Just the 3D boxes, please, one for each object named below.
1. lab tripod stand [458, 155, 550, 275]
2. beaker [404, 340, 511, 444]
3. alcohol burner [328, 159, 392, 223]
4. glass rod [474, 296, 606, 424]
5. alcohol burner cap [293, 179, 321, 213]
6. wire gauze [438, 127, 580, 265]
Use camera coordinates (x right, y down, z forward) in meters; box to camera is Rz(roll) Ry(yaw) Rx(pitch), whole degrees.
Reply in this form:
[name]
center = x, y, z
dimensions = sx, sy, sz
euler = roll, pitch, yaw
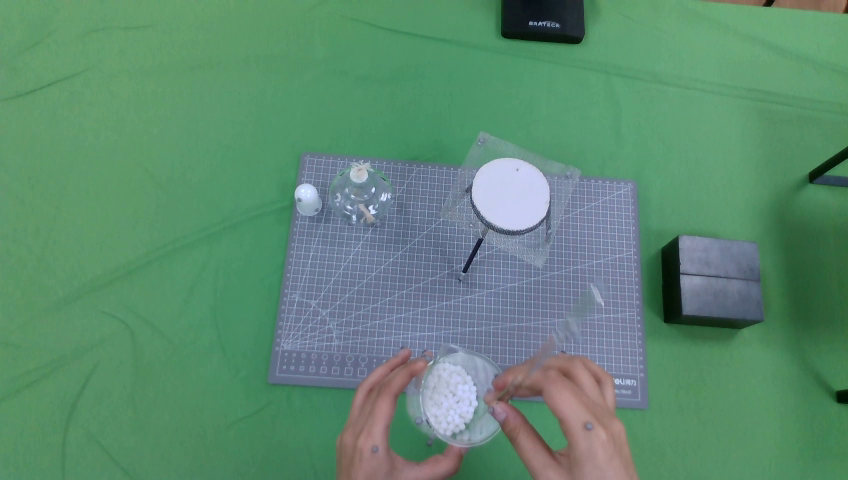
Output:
[lab tripod stand]
center = 0.093, -0.032, 0.716
dimensions = 0.148, 0.132, 0.147
euler = 2, 70, -5
[beaker]
center = 0.022, 0.132, 0.526
dimensions = 0.074, 0.100, 0.083
euler = -18, 79, -16
[alcohol burner]
center = -0.077, -0.066, 0.724
dimensions = 0.078, 0.119, 0.077
euler = 2, 71, -5
[glass rod]
center = 0.067, 0.086, 0.391
dimensions = 0.008, 0.201, 0.008
euler = 9, 54, -12
[alcohol burner cap]
center = -0.146, -0.057, 0.753
dimensions = 0.034, 0.048, 0.033
euler = 1, 71, -3
[wire gauze]
center = 0.093, -0.052, 0.652
dimensions = 0.125, 0.011, 0.121
euler = 25, 72, 4
